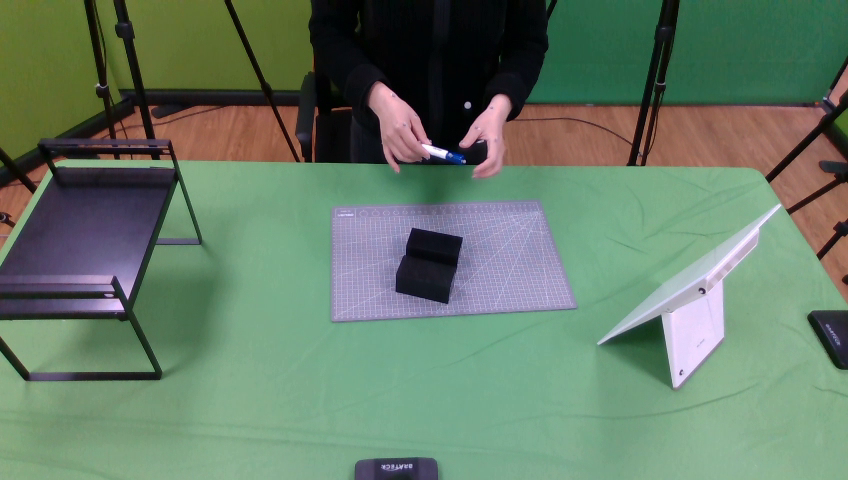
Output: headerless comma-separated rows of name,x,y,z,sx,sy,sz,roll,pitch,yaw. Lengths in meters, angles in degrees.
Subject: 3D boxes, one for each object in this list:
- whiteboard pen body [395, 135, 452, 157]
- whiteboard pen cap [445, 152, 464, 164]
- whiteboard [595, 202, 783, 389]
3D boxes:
whiteboard pen body,0.007,-0.171,1.117,0.140,0.017,0.017,21,48,25
whiteboard pen cap,0.055,-0.149,1.091,0.033,0.018,0.018,20,48,26
whiteboard,0.459,0.112,0.968,0.217,0.306,0.143,-31,74,-29
